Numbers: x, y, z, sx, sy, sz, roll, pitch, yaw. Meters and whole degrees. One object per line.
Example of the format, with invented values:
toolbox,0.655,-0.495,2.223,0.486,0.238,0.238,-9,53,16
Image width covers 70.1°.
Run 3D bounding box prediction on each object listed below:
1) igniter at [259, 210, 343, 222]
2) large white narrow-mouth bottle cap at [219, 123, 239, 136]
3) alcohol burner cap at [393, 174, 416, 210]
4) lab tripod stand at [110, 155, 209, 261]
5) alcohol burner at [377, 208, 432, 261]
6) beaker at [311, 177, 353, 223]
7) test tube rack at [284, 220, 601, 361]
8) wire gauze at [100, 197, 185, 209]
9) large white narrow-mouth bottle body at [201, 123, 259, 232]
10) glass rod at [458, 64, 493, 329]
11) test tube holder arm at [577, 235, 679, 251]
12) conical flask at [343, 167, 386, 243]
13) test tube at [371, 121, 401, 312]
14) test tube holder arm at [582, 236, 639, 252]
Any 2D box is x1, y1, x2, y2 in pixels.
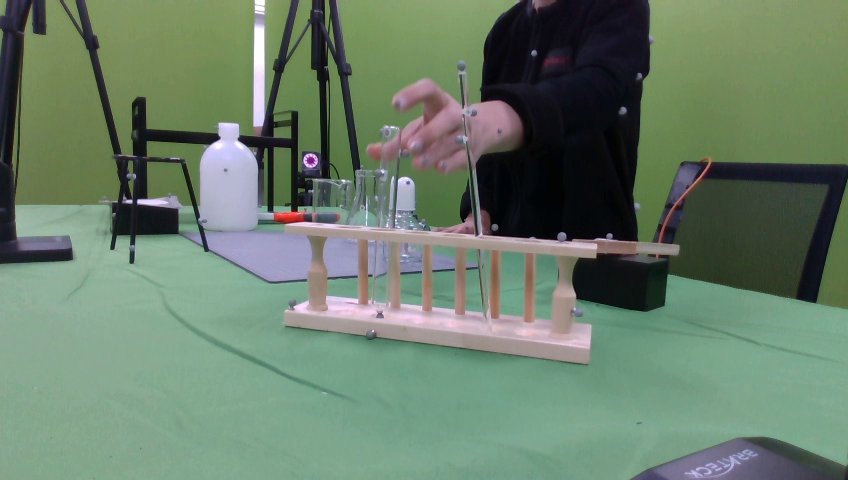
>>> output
igniter,-0.303,-0.049,1.258,0.278,0.025,0.057,-2,-2,-28
large white narrow-mouth bottle cap,-0.356,-0.201,1.104,0.038,0.024,0.037,2,8,0
alcohol burner cap,-0.025,-0.067,0.833,0.034,0.048,0.034,4,12,-1
lab tripod stand,-0.361,-0.046,0.806,0.148,0.131,0.148,2,5,0
alcohol burner,-0.027,-0.031,0.838,0.078,0.119,0.078,0,6,0
beaker,-0.167,-0.064,1.106,0.074,0.100,0.083,-2,9,-27
test tube rack,0.013,0.032,0.482,0.242,0.085,0.067,4,7,16
wire gauze,-0.469,-0.062,1.008,0.126,0.011,0.121,-2,8,-25
large white narrow-mouth bottle body,-0.358,-0.116,1.116,0.102,0.194,0.102,2,8,0
glass rod,0.039,-0.028,0.449,0.008,0.199,0.008,-7,9,1
test tube holder arm,0.227,0.004,0.661,0.179,0.015,0.013,1,13,-39
conical flask,-0.096,-0.059,1.000,0.075,0.122,0.075,2,8,0
test tube,-0.030,-0.018,0.474,0.017,0.150,0.017,4,5,0
test tube holder arm,0.194,0.004,0.629,0.088,0.015,0.010,2,13,-38
